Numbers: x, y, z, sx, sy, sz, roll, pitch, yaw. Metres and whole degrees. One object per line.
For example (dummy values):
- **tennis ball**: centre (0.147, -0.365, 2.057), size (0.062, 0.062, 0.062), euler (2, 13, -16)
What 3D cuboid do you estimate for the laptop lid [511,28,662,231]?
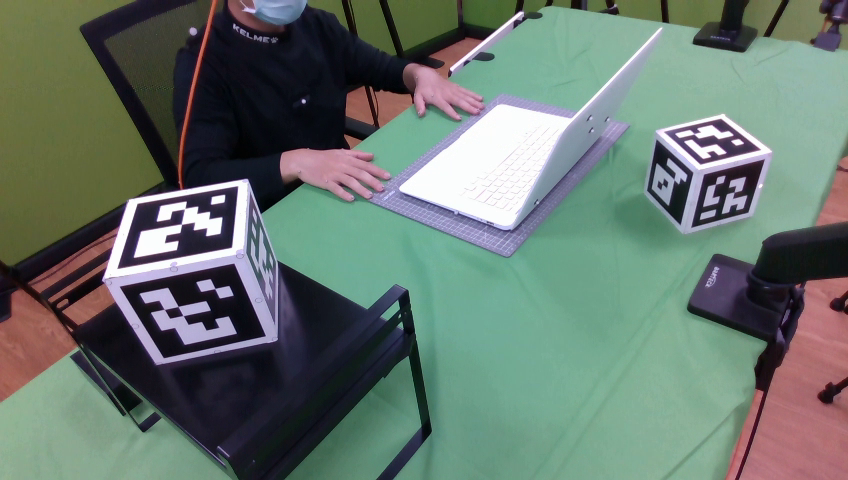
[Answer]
- **laptop lid**: centre (0.265, -0.179, 0.972), size (0.013, 0.242, 0.357), euler (36, 53, 14)

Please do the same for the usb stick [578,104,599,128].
- **usb stick**: centre (0.322, -0.242, 1.189), size (0.021, 0.027, 0.059), euler (24, 53, 30)

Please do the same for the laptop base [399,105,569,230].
- **laptop base**: centre (0.149, -0.147, 1.123), size (0.233, 0.023, 0.355), euler (20, 47, 32)
